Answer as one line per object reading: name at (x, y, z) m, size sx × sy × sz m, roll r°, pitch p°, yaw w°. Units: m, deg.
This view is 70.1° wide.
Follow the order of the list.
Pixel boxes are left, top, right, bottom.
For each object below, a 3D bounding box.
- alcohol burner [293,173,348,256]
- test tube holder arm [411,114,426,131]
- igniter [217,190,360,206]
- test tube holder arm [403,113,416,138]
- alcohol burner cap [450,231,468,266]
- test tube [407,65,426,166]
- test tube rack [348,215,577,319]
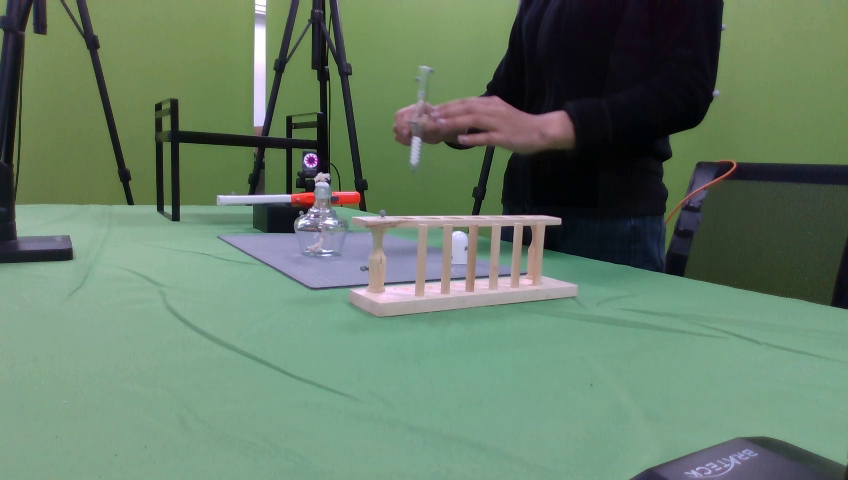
alcohol burner at (-0.146, -0.036, 0.859) m, size 0.078 × 0.119 × 0.078 m, roll 4°, pitch 8°, yaw 0°
test tube holder arm at (-0.012, -0.180, 0.931) m, size 0.010 × 0.015 × 0.087 m, roll 10°, pitch 1°, yaw -14°
igniter at (-0.248, -0.080, 1.150) m, size 0.278 × 0.025 × 0.057 m, roll -5°, pitch 7°, yaw -29°
test tube holder arm at (-0.024, -0.183, 0.975) m, size 0.013 × 0.015 × 0.178 m, roll 11°, pitch 0°, yaw -7°
alcohol burner cap at (0.046, 0.011, 0.838) m, size 0.034 × 0.048 × 0.034 m, roll 2°, pitch 6°, yaw 0°
test tube at (-0.012, -0.187, 0.908) m, size 0.017 × 0.150 × 0.017 m, roll 5°, pitch 4°, yaw 0°
test tube rack at (0.048, 0.021, 0.619) m, size 0.244 × 0.085 × 0.066 m, roll -2°, pitch 9°, yaw -31°
